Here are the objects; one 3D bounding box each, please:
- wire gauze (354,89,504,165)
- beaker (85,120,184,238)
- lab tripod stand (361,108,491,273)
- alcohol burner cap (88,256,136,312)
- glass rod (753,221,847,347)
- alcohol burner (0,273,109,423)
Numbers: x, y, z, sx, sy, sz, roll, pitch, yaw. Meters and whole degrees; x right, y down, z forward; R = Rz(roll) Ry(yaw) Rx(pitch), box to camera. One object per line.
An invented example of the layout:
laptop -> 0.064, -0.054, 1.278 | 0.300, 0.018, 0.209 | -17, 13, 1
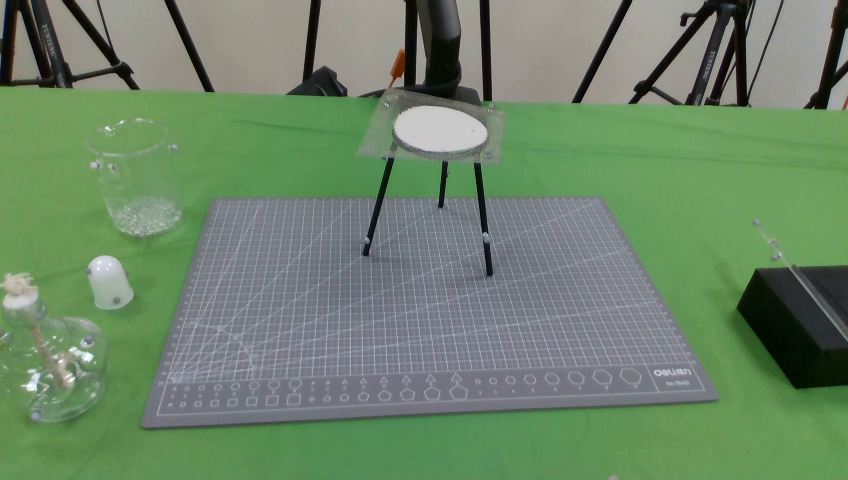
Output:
wire gauze -> 0.011, -0.102, 0.548 | 0.121, 0.011, 0.124 | 9, 38, 4
beaker -> -0.286, -0.060, 0.605 | 0.083, 0.101, 0.074 | 28, 43, 28
lab tripod stand -> 0.013, -0.049, 0.589 | 0.148, 0.132, 0.147 | 5, 37, -3
alcohol burner cap -> -0.275, 0.036, 0.530 | 0.034, 0.048, 0.033 | 3, 38, -2
glass rod -> 0.338, 0.044, 0.534 | 0.008, 0.008, 0.197 | 1, 39, -4
alcohol burner -> -0.269, 0.072, 0.425 | 0.078, 0.120, 0.077 | 1, 38, -1
